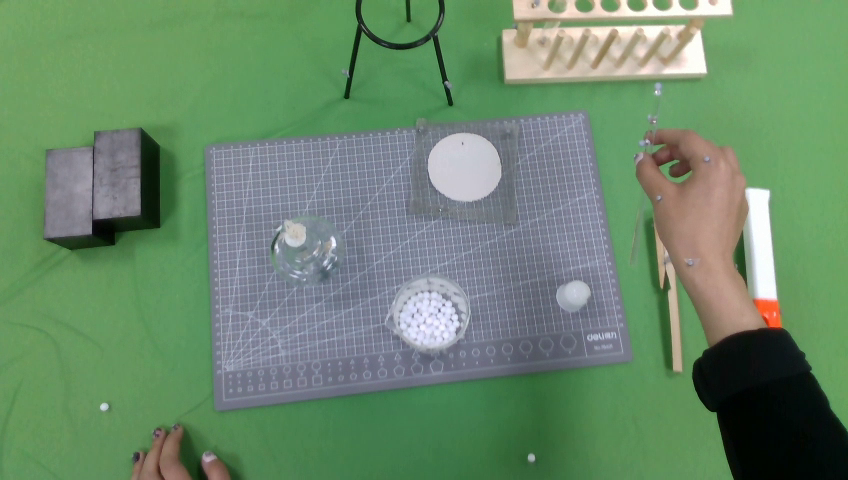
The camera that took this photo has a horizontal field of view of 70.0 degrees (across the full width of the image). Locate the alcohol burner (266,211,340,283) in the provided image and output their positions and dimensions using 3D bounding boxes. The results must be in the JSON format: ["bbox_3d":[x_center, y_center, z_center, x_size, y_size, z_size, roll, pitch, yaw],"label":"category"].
[{"bbox_3d":[-0.128,0.003,0.622,0.078,0.119,0.077,0,76,1],"label":"alcohol burner"}]

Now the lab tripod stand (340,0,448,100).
[{"bbox_3d":[-0.033,-0.220,0.669,0.148,0.132,0.147,0,79,-1],"label":"lab tripod stand"}]

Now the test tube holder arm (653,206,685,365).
[{"bbox_3d":[0.273,0.049,0.674,0.013,0.015,0.177,-13,74,34],"label":"test tube holder arm"}]

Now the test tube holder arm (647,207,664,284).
[{"bbox_3d":[0.265,0.007,0.687,0.010,0.015,0.087,-12,75,34],"label":"test tube holder arm"}]

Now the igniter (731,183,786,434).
[{"bbox_3d":[0.368,0.071,0.670,0.057,0.025,0.275,4,77,-11],"label":"igniter"}]

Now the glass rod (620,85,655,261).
[{"bbox_3d":[0.198,-0.053,0.569,0.008,0.201,0.008,-4,42,4],"label":"glass rod"}]

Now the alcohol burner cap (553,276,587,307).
[{"bbox_3d":[0.161,0.054,0.657,0.034,0.048,0.033,0,77,-1],"label":"alcohol burner cap"}]

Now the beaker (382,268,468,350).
[{"bbox_3d":[0.000,0.076,0.618,0.084,0.100,0.073,-14,77,-4],"label":"beaker"}]

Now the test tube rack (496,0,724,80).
[{"bbox_3d":[0.211,-0.241,0.706,0.242,0.085,0.066,-3,77,-2],"label":"test tube rack"}]

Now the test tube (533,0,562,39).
[{"bbox_3d":[0.143,-0.263,0.658,0.017,0.150,0.017,1,77,-4],"label":"test tube"}]

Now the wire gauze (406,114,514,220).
[{"bbox_3d":[0.043,-0.087,0.703,0.125,0.011,0.121,5,78,-1],"label":"wire gauze"}]
